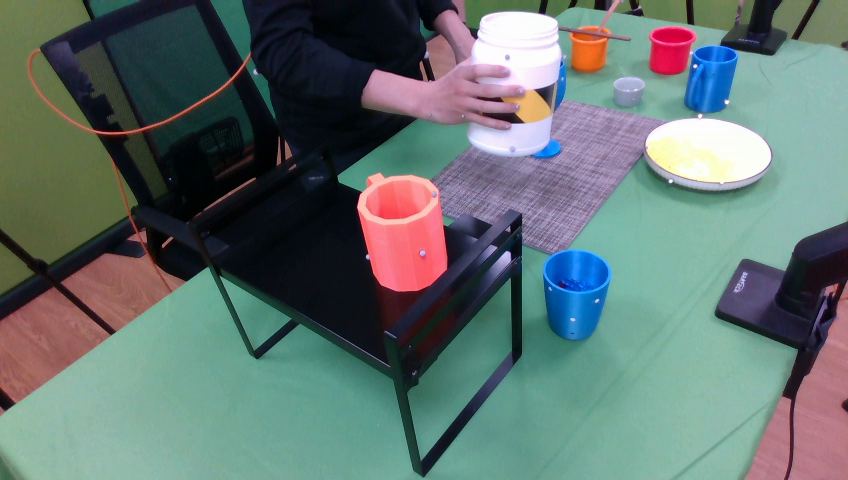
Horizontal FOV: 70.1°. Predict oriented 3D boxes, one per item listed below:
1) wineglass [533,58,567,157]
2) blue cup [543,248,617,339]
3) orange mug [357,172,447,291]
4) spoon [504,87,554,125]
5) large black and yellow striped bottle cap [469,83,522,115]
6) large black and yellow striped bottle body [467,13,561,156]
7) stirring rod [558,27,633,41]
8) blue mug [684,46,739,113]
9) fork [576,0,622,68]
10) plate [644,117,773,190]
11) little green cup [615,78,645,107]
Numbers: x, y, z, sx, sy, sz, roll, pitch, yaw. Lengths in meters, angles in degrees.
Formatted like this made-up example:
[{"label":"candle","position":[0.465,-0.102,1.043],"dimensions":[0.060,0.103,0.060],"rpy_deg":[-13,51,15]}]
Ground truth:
[{"label":"wineglass","position":[0.222,-0.241,1.102],"dimensions":[0.074,0.173,0.073],"rpy_deg":[-5,41,5]},{"label":"blue cup","position":[0.199,0.076,0.797],"dimensions":[0.092,0.100,0.092],"rpy_deg":[-4,39,4]},{"label":"orange mug","position":[-0.030,-0.018,0.669],"dimensions":[0.084,0.101,0.125],"rpy_deg":[-23,47,-16]},{"label":"spoon","position":[0.227,-0.285,1.269],"dimensions":[0.041,0.022,0.194],"rpy_deg":[3,37,44]},{"label":"large black and yellow striped bottle cap","position":[0.156,-0.307,1.316],"dimensions":[0.115,0.019,0.114],"rpy_deg":[-7,39,6]},{"label":"large black and yellow striped bottle body","position":[0.134,-0.234,0.908],"dimensions":[0.131,0.184,0.130],"rpy_deg":[1,34,0]},{"label":"stirring rod","position":[0.381,-0.463,1.356],"dimensions":[0.175,0.006,0.014],"rpy_deg":[21,47,30]},{"label":"blue mug","position":[0.556,-0.310,1.190],"dimensions":[0.117,0.106,0.081],"rpy_deg":[-32,46,-25]},{"label":"fork","position":[0.409,-0.484,1.381],"dimensions":[0.028,0.019,0.207],"rpy_deg":[37,101,46]},{"label":"plate","position":[0.495,-0.149,1.063],"dimensions":[0.209,0.038,0.208],"rpy_deg":[-5,40,4]},{"label":"little green cup","position":[0.426,-0.306,1.257],"dimensions":[0.061,0.039,0.061],"rpy_deg":[-4,40,4]}]
